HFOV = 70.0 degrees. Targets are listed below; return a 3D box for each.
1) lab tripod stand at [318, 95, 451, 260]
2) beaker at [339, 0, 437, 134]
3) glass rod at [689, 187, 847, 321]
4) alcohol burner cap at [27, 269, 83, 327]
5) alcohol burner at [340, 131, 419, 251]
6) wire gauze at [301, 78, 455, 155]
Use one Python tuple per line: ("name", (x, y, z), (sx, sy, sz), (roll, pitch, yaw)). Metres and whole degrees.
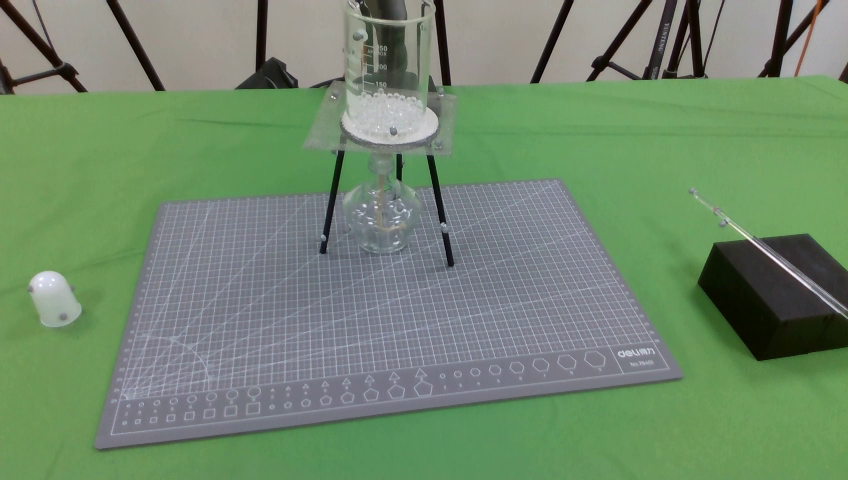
("lab tripod stand", (-0.031, -0.058, 0.576), (0.148, 0.132, 0.147), (4, 39, -2))
("beaker", (-0.034, -0.148, 0.504), (0.083, 0.101, 0.074), (30, 45, 27))
("glass rod", (0.308, 0.008, 0.548), (0.008, 0.008, 0.197), (-12, 42, -18))
("alcohol burner cap", (-0.311, 0.046, 0.506), (0.034, 0.048, 0.033), (2, 39, -1))
("alcohol burner", (-0.043, -0.049, 0.580), (0.078, 0.120, 0.077), (1, 38, -1))
("wire gauze", (-0.035, -0.109, 0.534), (0.121, 0.011, 0.124), (5, 42, 2))
